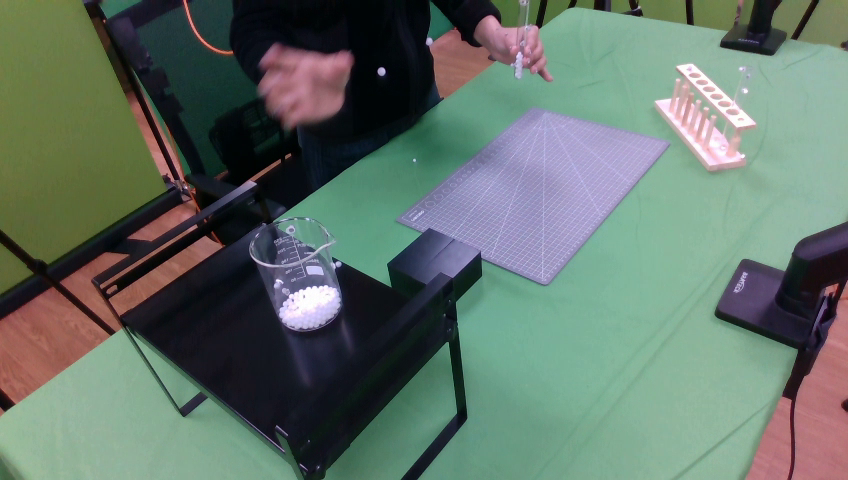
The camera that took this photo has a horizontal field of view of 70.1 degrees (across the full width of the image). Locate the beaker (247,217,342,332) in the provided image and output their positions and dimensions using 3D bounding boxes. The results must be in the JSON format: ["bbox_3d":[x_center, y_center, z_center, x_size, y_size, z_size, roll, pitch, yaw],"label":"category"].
[{"bbox_3d":[-0.124,0.037,0.614,0.084,0.101,0.073,-7,41,0],"label":"beaker"}]

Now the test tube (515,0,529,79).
[{"bbox_3d":[0.158,-0.322,0.979,0.017,0.151,0.017,-2,56,4],"label":"test tube"}]

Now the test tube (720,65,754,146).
[{"bbox_3d":[0.533,-0.226,1.032,0.017,0.151,0.017,-2,40,2],"label":"test tube"}]

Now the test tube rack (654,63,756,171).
[{"bbox_3d":[0.510,-0.233,1.120,0.067,0.085,0.241,-8,41,-1],"label":"test tube rack"}]
